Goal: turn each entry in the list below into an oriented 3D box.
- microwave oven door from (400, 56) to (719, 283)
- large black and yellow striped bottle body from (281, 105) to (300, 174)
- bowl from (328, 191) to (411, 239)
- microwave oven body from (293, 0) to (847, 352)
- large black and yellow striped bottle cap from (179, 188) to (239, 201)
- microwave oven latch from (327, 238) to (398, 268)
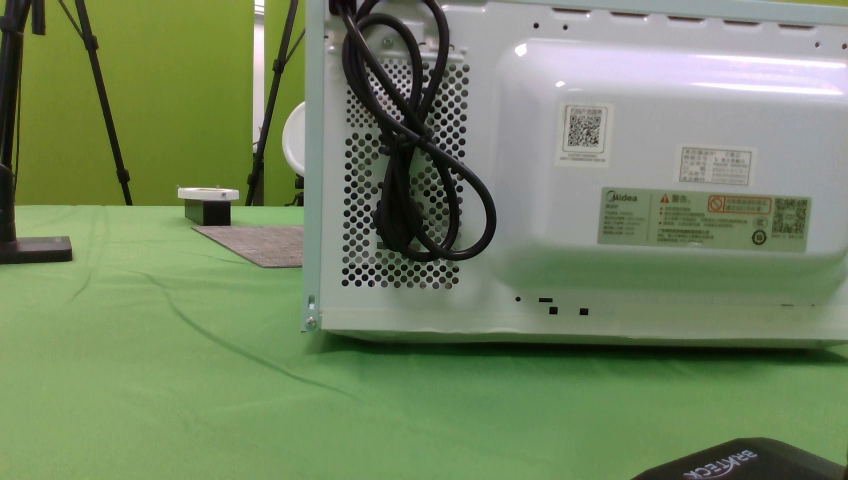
[{"bbox_3d":[0.155,-0.077,0.698,0.356,0.243,0.039,2,8,-5],"label":"microwave oven door"},{"bbox_3d":[-0.130,-0.146,0.989,0.130,0.130,0.184,6,-3,20],"label":"large black and yellow striped bottle body"},{"bbox_3d":[-0.100,-0.046,1.104,0.151,0.077,0.151,3,8,0],"label":"bowl"},{"bbox_3d":[0.122,-0.055,0.550,0.442,0.260,0.325,3,7,-5],"label":"microwave oven body"},{"bbox_3d":[-0.434,-0.093,1.226,0.115,0.019,0.115,3,9,0],"label":"large black and yellow striped bottle cap"},{"bbox_3d":[-0.069,0.015,0.694,0.079,0.029,0.030,3,7,-3],"label":"microwave oven latch"}]
